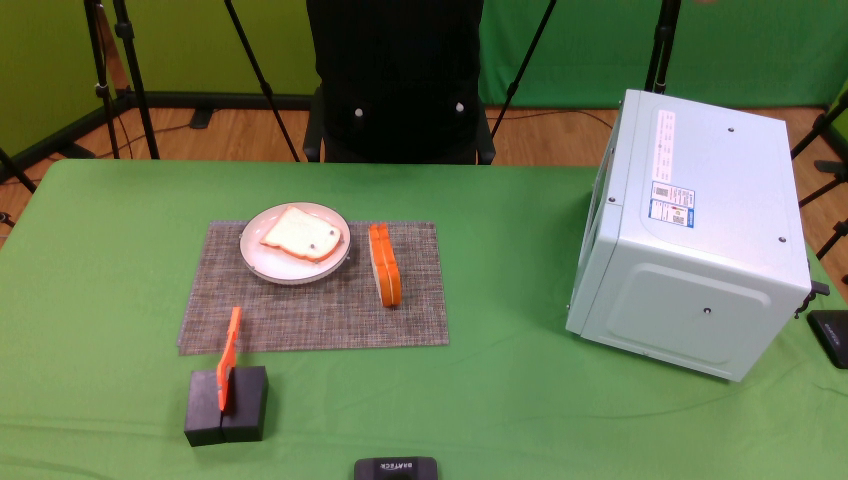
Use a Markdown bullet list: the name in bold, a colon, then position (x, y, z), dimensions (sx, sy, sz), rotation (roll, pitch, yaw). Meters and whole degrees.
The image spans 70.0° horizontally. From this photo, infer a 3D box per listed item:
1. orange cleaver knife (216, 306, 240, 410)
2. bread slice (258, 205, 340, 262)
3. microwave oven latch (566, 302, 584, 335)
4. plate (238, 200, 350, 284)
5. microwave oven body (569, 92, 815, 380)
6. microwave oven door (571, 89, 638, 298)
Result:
- **orange cleaver knife**: position (-0.307, 0.180, 0.957), dimensions (0.012, 0.077, 0.210), rotation (-2, 25, -8)
- **bread slice**: position (-0.232, -0.009, 1.168), dimensions (0.134, 0.018, 0.106), rotation (19, 51, 10)
- **microwave oven latch**: position (0.268, 0.126, 1.059), dimensions (0.030, 0.029, 0.079), rotation (16, 46, 12)
- **plate**: position (-0.245, 0.007, 1.156), dimensions (0.208, 0.039, 0.206), rotation (2, 46, -2)
- **microwave oven body**: position (0.468, -0.022, 1.082), dimensions (0.325, 0.261, 0.440), rotation (15, 46, 11)
- **microwave oven door**: position (0.343, -0.091, 1.132), dimensions (0.039, 0.245, 0.354), rotation (15, 47, 10)
